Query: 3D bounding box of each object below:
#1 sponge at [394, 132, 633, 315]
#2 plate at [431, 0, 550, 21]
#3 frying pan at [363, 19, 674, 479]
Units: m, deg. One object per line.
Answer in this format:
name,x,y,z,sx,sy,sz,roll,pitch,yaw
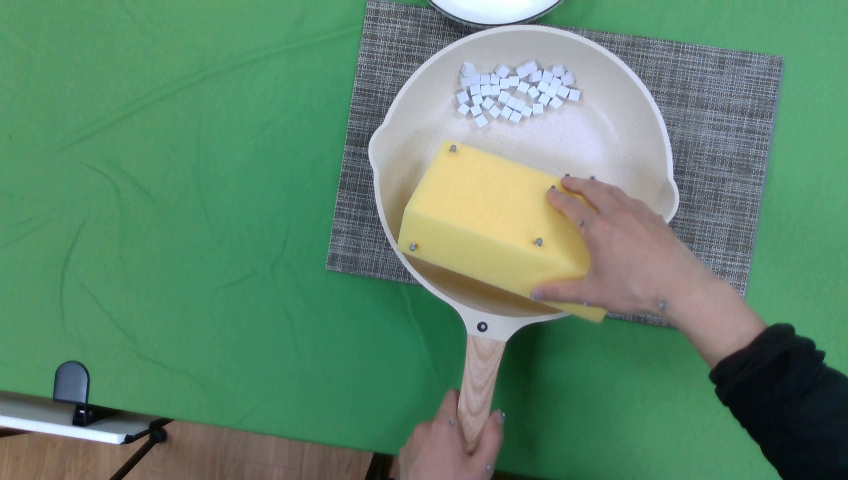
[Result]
sponge,0.089,-0.020,0.593,0.206,0.061,0.117,19,48,4
plate,0.073,-0.333,0.642,0.207,0.039,0.207,0,91,4
frying pan,0.070,0.030,0.609,0.306,0.103,0.486,12,83,4
